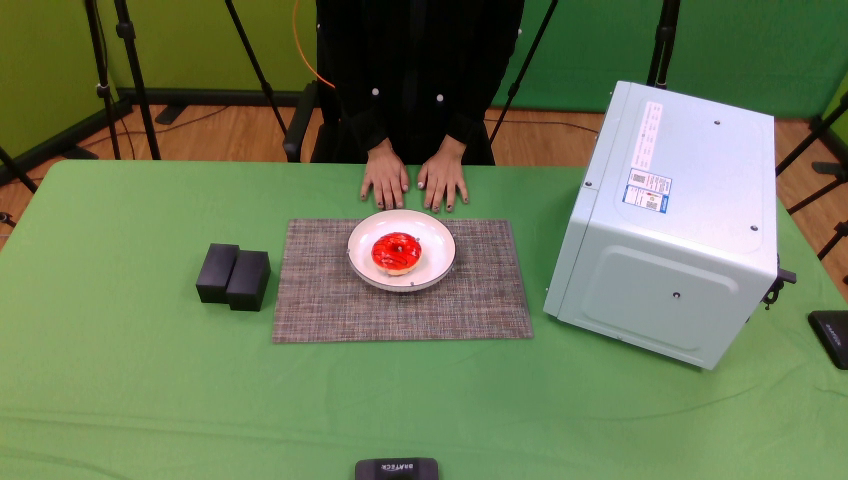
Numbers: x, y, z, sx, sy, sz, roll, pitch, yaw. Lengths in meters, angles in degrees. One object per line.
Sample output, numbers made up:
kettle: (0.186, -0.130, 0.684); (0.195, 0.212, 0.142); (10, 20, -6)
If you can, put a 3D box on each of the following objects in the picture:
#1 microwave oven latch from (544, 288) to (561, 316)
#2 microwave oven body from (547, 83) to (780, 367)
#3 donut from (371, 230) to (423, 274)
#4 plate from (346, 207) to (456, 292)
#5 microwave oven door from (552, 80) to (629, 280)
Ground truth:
microwave oven latch: (0.237, 0.098, 1.087); (0.030, 0.029, 0.079); (18, 47, 14)
microwave oven body: (0.444, -0.041, 1.101); (0.325, 0.261, 0.440); (17, 47, 13)
donut: (-0.051, 0.022, 1.142); (0.099, 0.048, 0.098); (0, 45, 0)
plate: (-0.044, 0.021, 1.159); (0.209, 0.038, 0.208); (2, 47, -2)
microwave oven door: (0.324, -0.116, 1.156); (0.039, 0.245, 0.354); (18, 48, 13)
